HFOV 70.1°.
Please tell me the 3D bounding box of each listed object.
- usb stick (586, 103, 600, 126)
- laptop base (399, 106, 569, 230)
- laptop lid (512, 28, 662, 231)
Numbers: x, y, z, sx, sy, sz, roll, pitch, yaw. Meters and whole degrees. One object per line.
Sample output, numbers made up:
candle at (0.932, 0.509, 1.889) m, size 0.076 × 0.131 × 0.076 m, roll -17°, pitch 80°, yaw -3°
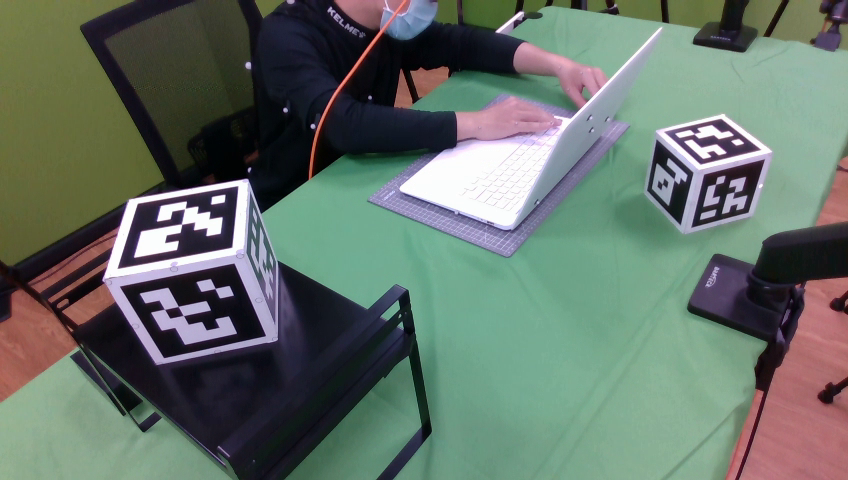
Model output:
usb stick at (0.332, -0.246, 1.193) m, size 0.021 × 0.027 × 0.059 m, roll 9°, pitch 44°, yaw 16°
laptop base at (0.149, -0.147, 1.124) m, size 0.233 × 0.023 × 0.355 m, roll 20°, pitch 47°, yaw 32°
laptop lid at (0.265, -0.179, 0.973) m, size 0.013 × 0.242 × 0.357 m, roll 36°, pitch 53°, yaw 14°
